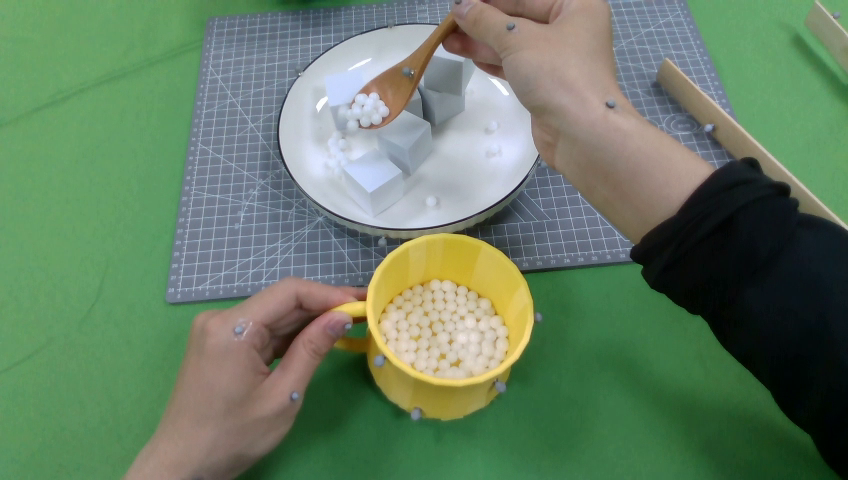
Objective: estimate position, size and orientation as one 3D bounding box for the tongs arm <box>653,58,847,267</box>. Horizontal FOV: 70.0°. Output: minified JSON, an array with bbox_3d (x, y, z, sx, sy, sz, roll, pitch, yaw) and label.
[{"bbox_3d":[0.299,-0.005,0.426,0.028,0.028,0.384,-29,64,-16],"label":"tongs arm"}]

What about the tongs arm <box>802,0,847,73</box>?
[{"bbox_3d":[0.374,-0.036,0.436,0.051,0.027,0.381,-18,63,-7],"label":"tongs arm"}]

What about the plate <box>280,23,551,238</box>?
[{"bbox_3d":[-0.006,-0.087,0.480,0.207,0.039,0.206,-1,60,3],"label":"plate"}]

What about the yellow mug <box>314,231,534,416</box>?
[{"bbox_3d":[-0.002,0.053,0.378,0.131,0.064,0.099,-2,59,-6],"label":"yellow mug"}]

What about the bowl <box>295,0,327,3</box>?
[{"bbox_3d":[-0.111,-0.283,0.577,0.151,0.077,0.150,-2,60,3],"label":"bowl"}]

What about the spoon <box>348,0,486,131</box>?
[{"bbox_3d":[0.017,-0.135,0.389,0.194,0.022,0.041,-38,57,33],"label":"spoon"}]
